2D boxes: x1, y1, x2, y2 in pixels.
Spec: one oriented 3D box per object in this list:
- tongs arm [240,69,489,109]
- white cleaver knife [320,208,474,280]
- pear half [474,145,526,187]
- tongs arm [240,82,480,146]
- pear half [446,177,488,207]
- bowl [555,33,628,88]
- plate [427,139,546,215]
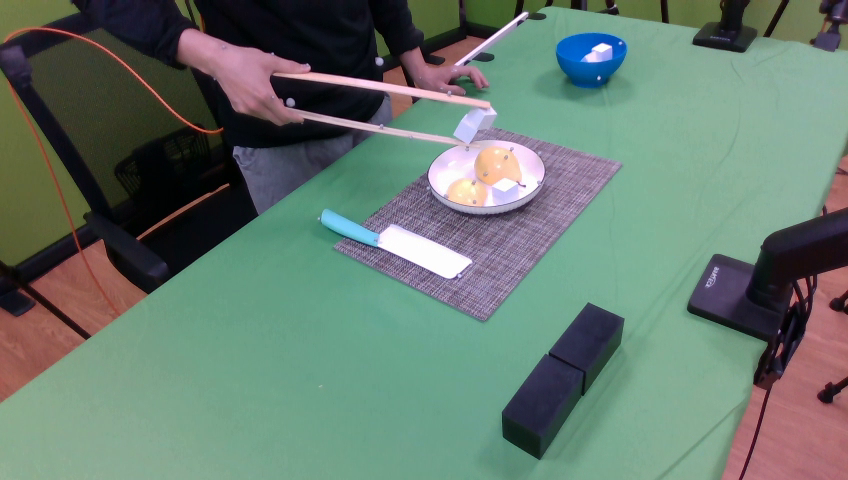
[{"bbox_3d":[-0.088,-0.233,0.945,0.388,0.028,0.027,6,37,-5],"label":"tongs arm"},{"bbox_3d":[-0.053,0.001,0.978,0.284,0.021,0.066,23,40,26],"label":"white cleaver knife"},{"bbox_3d":[0.140,-0.129,1.059,0.076,0.056,0.109,-37,53,-25],"label":"pear half"},{"bbox_3d":[-0.095,-0.199,0.966,0.386,0.051,0.026,7,34,-6],"label":"tongs arm"},{"bbox_3d":[0.073,-0.086,1.033,0.070,0.031,0.087,-20,36,-9],"label":"pear half"},{"bbox_3d":[0.361,-0.384,1.319,0.151,0.077,0.150,-4,41,4],"label":"bowl"},{"bbox_3d":[0.109,-0.106,1.058,0.207,0.039,0.206,-4,40,4],"label":"plate"}]
